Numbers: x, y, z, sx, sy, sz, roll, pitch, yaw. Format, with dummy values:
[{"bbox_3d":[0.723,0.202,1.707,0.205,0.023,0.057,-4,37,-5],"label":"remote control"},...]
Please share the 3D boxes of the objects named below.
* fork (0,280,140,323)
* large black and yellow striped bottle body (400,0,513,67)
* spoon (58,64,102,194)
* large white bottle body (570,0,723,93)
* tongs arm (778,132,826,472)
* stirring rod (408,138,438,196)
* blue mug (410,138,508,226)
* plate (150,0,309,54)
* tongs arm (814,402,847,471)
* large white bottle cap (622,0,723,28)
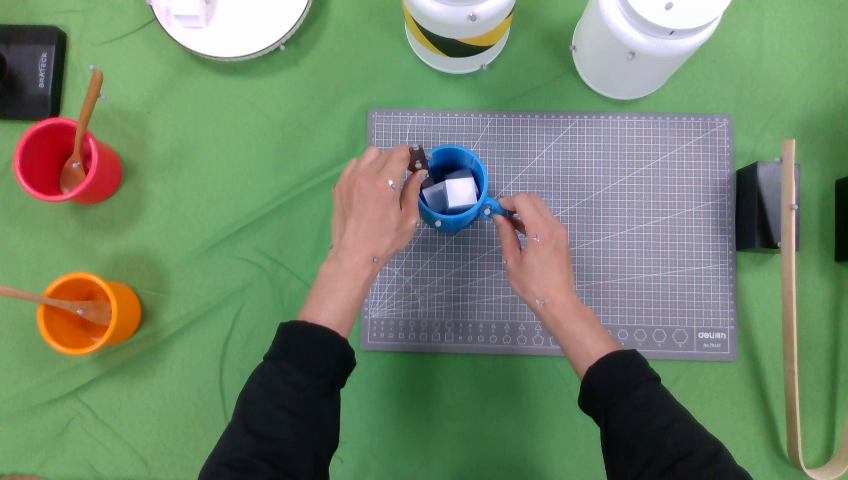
[{"bbox_3d":[-0.423,0.060,0.671,0.209,0.018,0.028,23,84,-40],"label":"fork"},{"bbox_3d":[0.037,-0.286,0.673,0.131,0.184,0.130,0,85,1],"label":"large black and yellow striped bottle body"},{"bbox_3d":[-0.389,-0.121,0.687,0.041,0.021,0.194,47,131,7],"label":"spoon"},{"bbox_3d":[0.242,-0.253,0.666,0.130,0.185,0.130,0,85,1],"label":"large white bottle body"},{"bbox_3d":[0.423,0.073,0.676,0.051,0.026,0.385,-3,97,-2],"label":"tongs arm"},{"bbox_3d":[0.001,-0.073,0.645,0.014,0.177,0.006,-22,77,1],"label":"stirring rod"},{"bbox_3d":[0.042,-0.056,0.691,0.116,0.106,0.082,26,86,3],"label":"blue mug"},{"bbox_3d":[-0.237,-0.329,0.754,0.208,0.039,0.207,0,86,1],"label":"plate"},{"bbox_3d":[0.505,0.075,0.677,0.028,0.027,0.388,10,97,-6],"label":"tongs arm"},{"bbox_3d":[0.240,-0.262,0.582,0.115,0.018,0.114,0,85,1],"label":"large white bottle cap"}]
